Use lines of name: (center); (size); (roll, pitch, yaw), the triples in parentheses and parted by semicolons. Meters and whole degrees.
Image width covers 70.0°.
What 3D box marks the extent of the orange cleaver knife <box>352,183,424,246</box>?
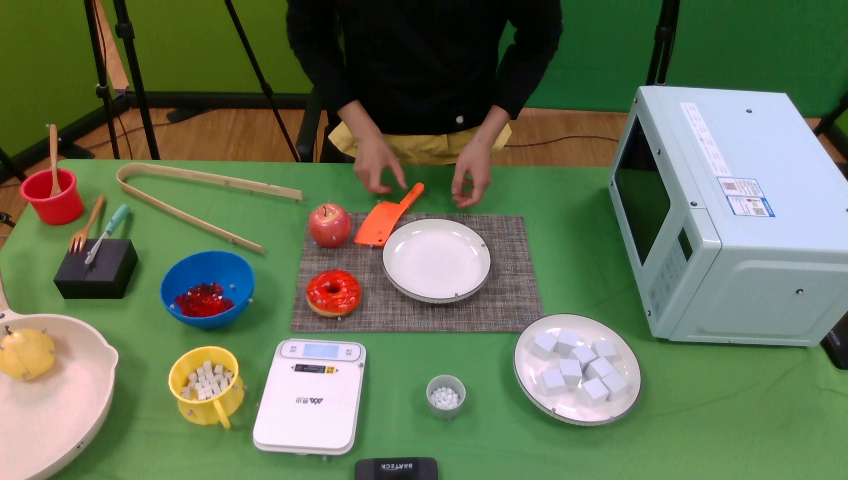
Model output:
orange cleaver knife: (-0.070, -0.058, 1.246); (0.077, 0.012, 0.210); (19, 49, 19)

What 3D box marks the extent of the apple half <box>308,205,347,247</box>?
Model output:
apple half: (-0.193, -0.021, 1.164); (0.080, 0.075, 0.053); (37, 58, 24)

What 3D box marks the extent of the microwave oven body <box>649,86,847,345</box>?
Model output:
microwave oven body: (0.567, -0.053, 1.118); (0.326, 0.261, 0.439); (2, 45, -1)

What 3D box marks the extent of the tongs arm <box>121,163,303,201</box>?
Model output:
tongs arm: (-0.444, -0.114, 1.266); (0.384, 0.026, 0.050); (12, 50, 7)

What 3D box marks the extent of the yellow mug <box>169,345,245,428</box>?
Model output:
yellow mug: (-0.322, 0.230, 0.922); (0.100, 0.064, 0.130); (-24, 53, -25)

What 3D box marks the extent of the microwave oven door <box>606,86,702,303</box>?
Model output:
microwave oven door: (0.422, -0.094, 1.140); (0.039, 0.245, 0.353); (2, 46, -1)

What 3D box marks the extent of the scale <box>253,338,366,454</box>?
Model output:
scale: (-0.175, 0.236, 0.951); (0.149, 0.032, 0.199); (5, 45, -1)

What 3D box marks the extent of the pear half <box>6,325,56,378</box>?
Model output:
pear half: (-0.608, 0.158, 0.935); (0.076, 0.110, 0.056); (31, 51, 20)

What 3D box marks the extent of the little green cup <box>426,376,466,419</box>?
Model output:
little green cup: (0.033, 0.248, 0.950); (0.061, 0.039, 0.061); (2, 46, -2)

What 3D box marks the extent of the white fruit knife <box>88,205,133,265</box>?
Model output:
white fruit knife: (-0.584, -0.013, 1.129); (0.016, 0.027, 0.206); (0, 32, -5)

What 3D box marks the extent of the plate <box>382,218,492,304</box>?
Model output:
plate: (0.023, 0.042, 1.143); (0.209, 0.038, 0.208); (2, 46, -2)

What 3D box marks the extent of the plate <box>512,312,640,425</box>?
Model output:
plate: (0.246, 0.213, 0.999); (0.208, 0.039, 0.206); (2, 46, -2)

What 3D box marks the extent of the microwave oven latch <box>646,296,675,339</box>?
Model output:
microwave oven latch: (0.412, 0.134, 1.061); (0.030, 0.029, 0.078); (4, 45, 1)

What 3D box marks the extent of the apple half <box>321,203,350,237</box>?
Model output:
apple half: (-0.166, -0.041, 1.183); (0.081, 0.082, 0.033); (35, 57, 27)

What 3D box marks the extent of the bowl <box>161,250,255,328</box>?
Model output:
bowl: (-0.362, 0.098, 1.039); (0.151, 0.077, 0.150); (2, 45, -2)

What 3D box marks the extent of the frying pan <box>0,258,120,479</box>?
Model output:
frying pan: (-0.647, 0.164, 0.936); (0.307, 0.103, 0.485); (-19, 58, -22)

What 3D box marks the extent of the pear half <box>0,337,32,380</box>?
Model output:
pear half: (-0.631, 0.184, 0.921); (0.070, 0.088, 0.031); (29, 49, 19)

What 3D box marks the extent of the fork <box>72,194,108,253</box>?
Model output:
fork: (-0.634, -0.036, 1.158); (0.028, 0.019, 0.206); (-8, 32, -8)

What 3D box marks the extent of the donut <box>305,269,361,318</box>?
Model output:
donut: (-0.160, 0.094, 1.075); (0.099, 0.048, 0.098); (3, 45, -3)

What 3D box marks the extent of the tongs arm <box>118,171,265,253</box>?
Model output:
tongs arm: (-0.473, -0.056, 1.210); (0.386, 0.028, 0.028); (23, 55, 17)

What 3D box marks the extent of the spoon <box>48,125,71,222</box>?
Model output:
spoon: (-0.718, -0.131, 1.188); (0.041, 0.021, 0.193); (-3, 90, -7)
